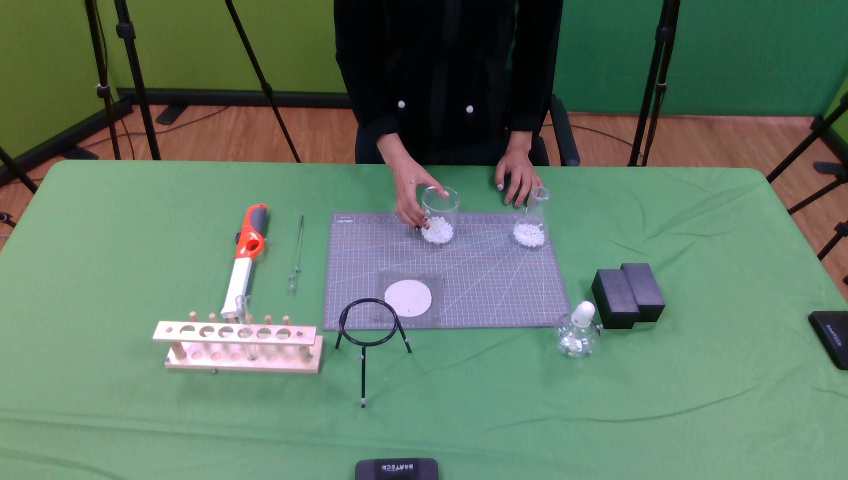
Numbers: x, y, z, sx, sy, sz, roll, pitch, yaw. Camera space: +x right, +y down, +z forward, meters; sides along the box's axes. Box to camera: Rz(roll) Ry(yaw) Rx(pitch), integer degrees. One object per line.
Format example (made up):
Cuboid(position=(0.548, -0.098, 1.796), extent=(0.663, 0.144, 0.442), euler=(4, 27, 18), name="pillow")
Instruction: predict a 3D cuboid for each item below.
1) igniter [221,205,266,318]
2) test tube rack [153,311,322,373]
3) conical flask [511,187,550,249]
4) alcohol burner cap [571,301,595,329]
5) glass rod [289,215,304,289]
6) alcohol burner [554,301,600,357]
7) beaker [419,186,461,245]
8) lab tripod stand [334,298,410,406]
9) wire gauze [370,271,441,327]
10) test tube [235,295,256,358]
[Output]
Cuboid(position=(-0.338, 0.030, 1.140), extent=(0.057, 0.025, 0.274), euler=(-5, 46, 3), name="igniter")
Cuboid(position=(-0.293, 0.160, 0.977), extent=(0.242, 0.085, 0.066), euler=(3, 46, -2), name="test tube rack")
Cuboid(position=(0.217, -0.048, 1.190), extent=(0.075, 0.122, 0.075), euler=(2, 46, -2), name="conical flask")
Cuboid(position=(0.262, 0.120, 0.991), extent=(0.034, 0.048, 0.033), euler=(2, 52, -2), name="alcohol burner cap")
Cuboid(position=(-0.246, 0.019, 1.171), extent=(0.008, 0.008, 0.198), euler=(1, 44, -3), name="glass rod")
Cuboid(position=(0.260, 0.143, 1.018), extent=(0.078, 0.119, 0.077), euler=(3, 44, -3), name="alcohol burner")
Cuboid(position=(0.026, -0.047, 1.189), extent=(0.074, 0.101, 0.083), euler=(-28, 55, -29), name="beaker")
Cuboid(position=(-0.085, 0.164, 0.957), extent=(0.148, 0.132, 0.147), euler=(3, 44, -2), name="lab tripod stand")
Cuboid(position=(-0.032, 0.103, 1.104), extent=(0.125, 0.011, 0.121), euler=(4, 46, 3), name="wire gauze")
Cuboid(position=(-0.274, 0.136, 0.933), extent=(0.017, 0.151, 0.017), euler=(4, 46, -4), name="test tube")
